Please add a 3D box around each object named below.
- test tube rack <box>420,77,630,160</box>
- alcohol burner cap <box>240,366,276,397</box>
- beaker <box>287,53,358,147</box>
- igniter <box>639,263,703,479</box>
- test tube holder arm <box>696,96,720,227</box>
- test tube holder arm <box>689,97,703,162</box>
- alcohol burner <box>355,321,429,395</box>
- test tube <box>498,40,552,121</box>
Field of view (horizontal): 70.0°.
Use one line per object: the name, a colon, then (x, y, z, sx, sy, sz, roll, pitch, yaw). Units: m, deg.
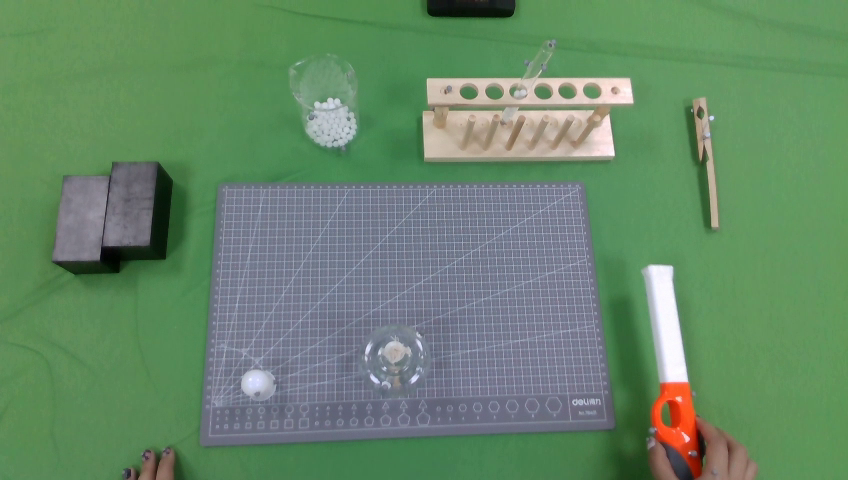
test tube rack: (0.119, -0.147, 0.741, 0.243, 0.085, 0.066, -1, 72, -5)
alcohol burner cap: (-0.177, 0.149, 0.643, 0.034, 0.048, 0.033, 1, 72, -3)
beaker: (-0.118, -0.162, 0.720, 0.084, 0.101, 0.073, 26, 72, 5)
igniter: (0.262, 0.159, 0.646, 0.057, 0.025, 0.275, 3, 73, -14)
test tube holder arm: (0.364, -0.103, 0.779, 0.013, 0.015, 0.177, -11, 70, 28)
test tube holder arm: (0.358, -0.145, 0.794, 0.010, 0.015, 0.087, -9, 71, 29)
alcohol burner: (-0.032, 0.119, 0.627, 0.078, 0.119, 0.077, 2, 70, -4)
test tube: (0.113, -0.178, 0.697, 0.017, 0.150, 0.017, 3, 71, -10)
